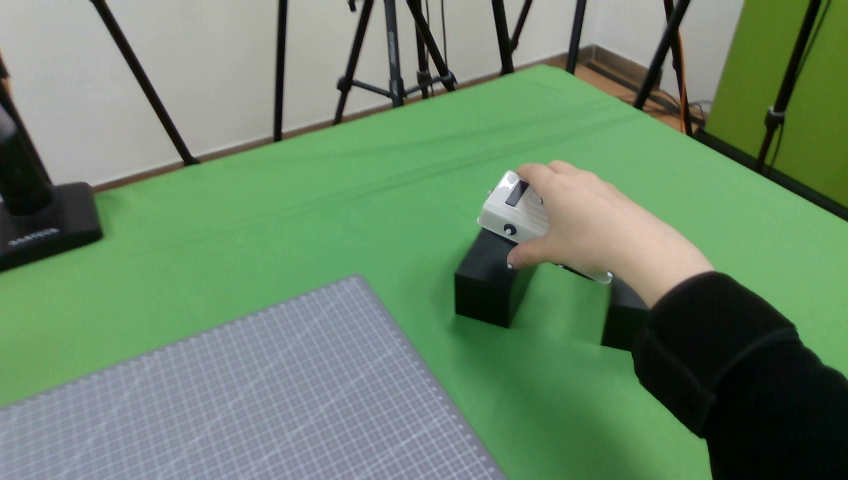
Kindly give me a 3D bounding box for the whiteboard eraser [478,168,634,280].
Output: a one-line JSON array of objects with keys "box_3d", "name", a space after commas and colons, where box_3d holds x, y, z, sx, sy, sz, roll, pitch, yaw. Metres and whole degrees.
[{"box_3d": [0.103, -0.012, 0.479, 0.112, 0.042, 0.055, 25, 49, 13], "name": "whiteboard eraser"}]
